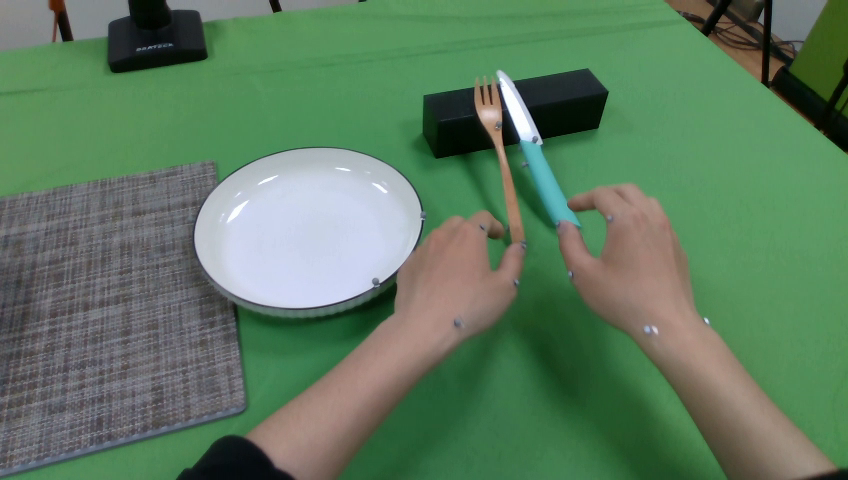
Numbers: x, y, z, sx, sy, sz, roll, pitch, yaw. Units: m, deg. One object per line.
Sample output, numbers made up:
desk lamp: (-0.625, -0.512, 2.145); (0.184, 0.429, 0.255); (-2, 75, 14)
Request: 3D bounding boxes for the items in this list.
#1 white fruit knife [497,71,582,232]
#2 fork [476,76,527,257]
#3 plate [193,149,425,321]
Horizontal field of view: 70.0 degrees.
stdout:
white fruit knife: (0.114, -0.098, 0.635); (0.027, 0.016, 0.205); (-12, 66, -15)
fork: (0.080, -0.079, 0.614); (0.028, 0.019, 0.205); (-3, 65, -14)
plate: (-0.104, -0.006, 0.567); (0.208, 0.039, 0.205); (1, 48, -1)
